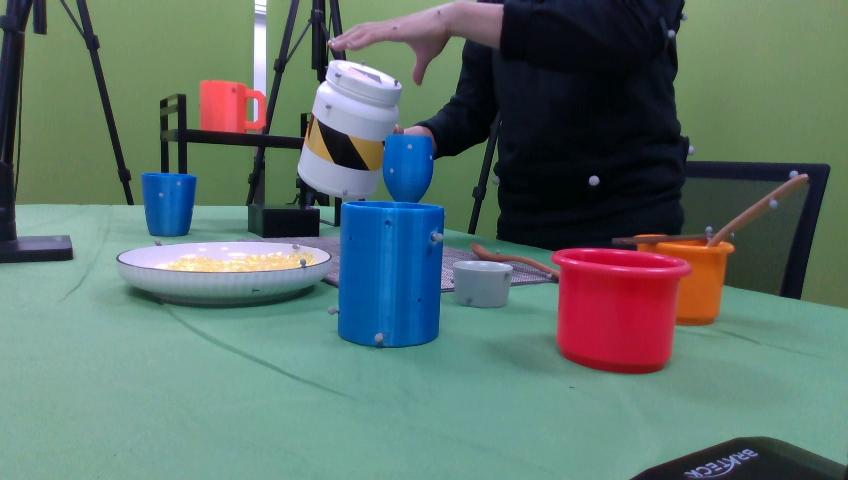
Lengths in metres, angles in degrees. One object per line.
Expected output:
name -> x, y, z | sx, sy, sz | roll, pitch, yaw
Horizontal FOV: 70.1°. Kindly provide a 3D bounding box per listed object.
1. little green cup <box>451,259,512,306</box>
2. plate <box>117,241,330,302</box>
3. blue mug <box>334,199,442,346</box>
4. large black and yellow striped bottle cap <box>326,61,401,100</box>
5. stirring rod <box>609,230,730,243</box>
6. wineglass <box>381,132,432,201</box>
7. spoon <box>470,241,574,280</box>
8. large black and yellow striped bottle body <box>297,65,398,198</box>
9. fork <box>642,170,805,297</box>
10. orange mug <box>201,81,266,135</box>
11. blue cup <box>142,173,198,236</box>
little green cup -> 0.057, 0.043, 0.611 | 0.061, 0.038, 0.061 | 3, 8, 0
plate -> -0.203, 0.031, 0.630 | 0.209, 0.038, 0.209 | 3, 7, 0
blue mug -> -0.034, 0.020, 0.498 | 0.083, 0.106, 0.116 | 0, 7, -20
large black and yellow striped bottle cap -> -0.091, -0.244, 0.922 | 0.115, 0.019, 0.115 | 16, 26, -8
stirring rod -> 0.241, -0.004, 0.582 | 0.177, 0.006, 0.014 | -3, 10, -33
wineglass -> -0.026, -0.062, 0.841 | 0.074, 0.172, 0.073 | 2, 7, 0
spoon -> 0.124, 0.025, 0.800 | 0.042, 0.021, 0.192 | 23, -6, -35
large black and yellow striped bottle body -> -0.118, -0.174, 0.958 | 0.131, 0.184, 0.130 | 17, 25, -8
fork -> 0.261, 0.004, 0.545 | 0.028, 0.018, 0.207 | 5, -37, -16
orange mug -> -0.376, -0.260, 1.198 | 0.126, 0.101, 0.083 | -3, 8, -6
blue cup -> -0.425, -0.060, 1.014 | 0.093, 0.100, 0.092 | 4, 9, 0
